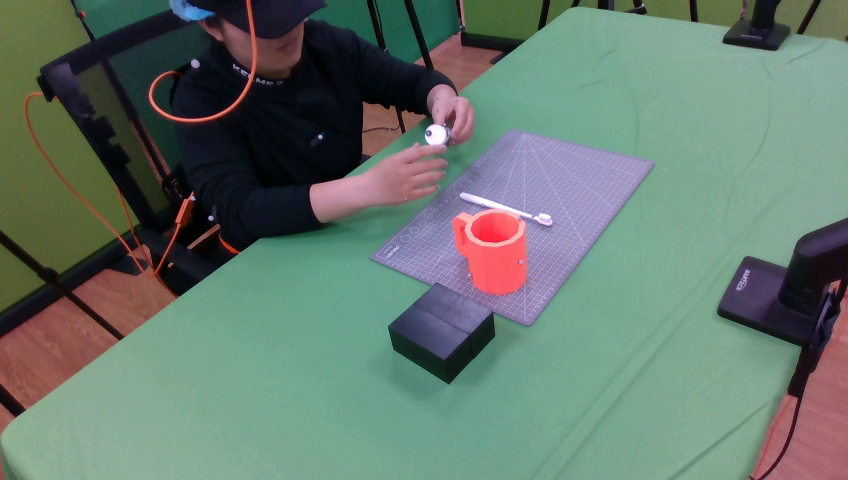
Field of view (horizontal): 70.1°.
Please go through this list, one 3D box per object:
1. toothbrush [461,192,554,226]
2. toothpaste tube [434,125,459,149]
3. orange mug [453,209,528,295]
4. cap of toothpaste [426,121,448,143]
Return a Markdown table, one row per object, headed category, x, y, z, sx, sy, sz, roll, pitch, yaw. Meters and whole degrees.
| category | x | y | z | sx | sy | sz | roll | pitch | yaw |
| --- | --- | --- | --- | --- | --- | --- | --- | --- | --- |
| toothbrush | 0.137 | -0.056 | 1.026 | 0.180 | 0.017 | 0.014 | 20 | 60 | 32 |
| toothpaste tube | 0.035 | -0.187 | 1.080 | 0.055 | 0.034 | 0.165 | -36 | -1 | 9 |
| orange mug | 0.095 | 0.009 | 0.894 | 0.125 | 0.101 | 0.084 | 32 | 55 | 33 |
| cap of toothpaste | 0.021 | -0.179 | 1.003 | 0.037 | 0.037 | 0.011 | -2 | 5 | 9 |
